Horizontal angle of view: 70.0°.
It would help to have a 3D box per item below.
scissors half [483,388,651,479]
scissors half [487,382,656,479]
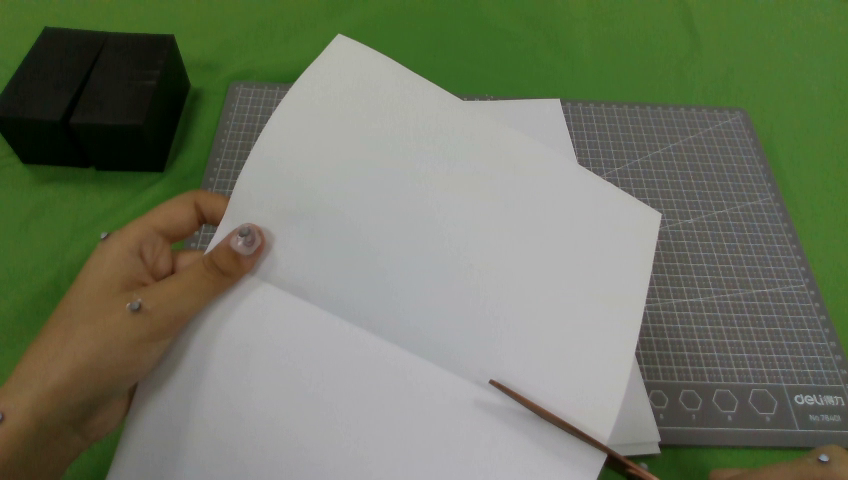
[{"bbox_3d":[0.102,0.102,0.249,0.174,0.040,0.013,24,67,22],"label":"scissors half"},{"bbox_3d":[0.101,0.110,0.270,0.175,0.040,0.012,34,73,-5],"label":"scissors half"}]
